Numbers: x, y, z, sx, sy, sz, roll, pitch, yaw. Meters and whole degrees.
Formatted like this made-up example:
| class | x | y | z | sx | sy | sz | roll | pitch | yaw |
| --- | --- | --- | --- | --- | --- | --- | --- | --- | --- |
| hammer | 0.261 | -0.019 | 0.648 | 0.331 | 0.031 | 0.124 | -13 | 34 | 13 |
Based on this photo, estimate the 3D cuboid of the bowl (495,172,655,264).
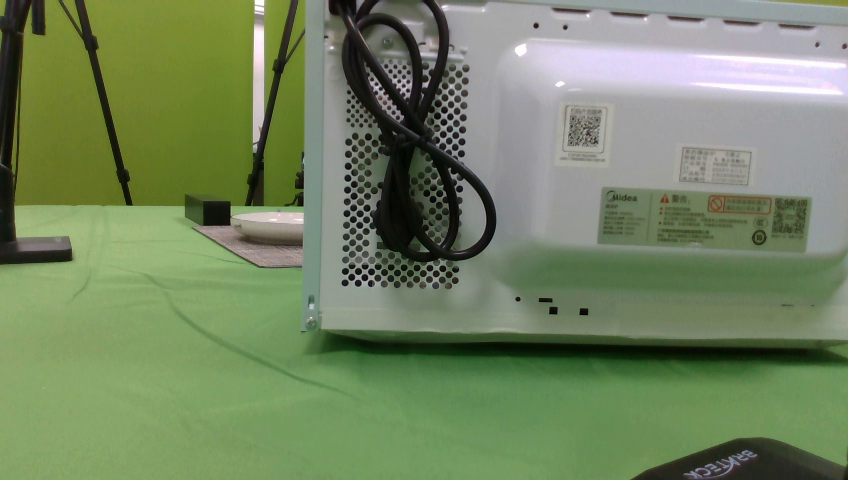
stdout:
| class | x | y | z | sx | sy | sz | roll | pitch | yaw |
| --- | --- | --- | --- | --- | --- | --- | --- | --- | --- |
| bowl | 0.144 | -0.023 | 0.592 | 0.151 | 0.077 | 0.151 | 1 | 11 | 0 |

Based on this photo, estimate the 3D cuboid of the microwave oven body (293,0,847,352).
| class | x | y | z | sx | sy | sz | roll | pitch | yaw |
| --- | --- | --- | --- | --- | --- | --- | --- | --- | --- |
| microwave oven body | 0.122 | -0.055 | 0.550 | 0.442 | 0.260 | 0.325 | 3 | 7 | -5 |

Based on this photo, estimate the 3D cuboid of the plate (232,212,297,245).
| class | x | y | z | sx | sy | sz | roll | pitch | yaw |
| --- | --- | --- | --- | --- | --- | --- | --- | --- | --- |
| plate | -0.214 | -0.019 | 1.018 | 0.208 | 0.039 | 0.207 | 2 | 7 | 0 |

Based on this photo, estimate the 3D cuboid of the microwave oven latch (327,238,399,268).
| class | x | y | z | sx | sy | sz | roll | pitch | yaw |
| --- | --- | --- | --- | --- | --- | --- | --- | --- | --- |
| microwave oven latch | -0.069 | 0.015 | 0.694 | 0.079 | 0.029 | 0.030 | 3 | 7 | -3 |

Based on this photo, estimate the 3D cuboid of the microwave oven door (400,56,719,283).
| class | x | y | z | sx | sy | sz | roll | pitch | yaw |
| --- | --- | --- | --- | --- | --- | --- | --- | --- | --- |
| microwave oven door | 0.155 | -0.077 | 0.698 | 0.356 | 0.243 | 0.039 | 2 | 8 | -5 |
